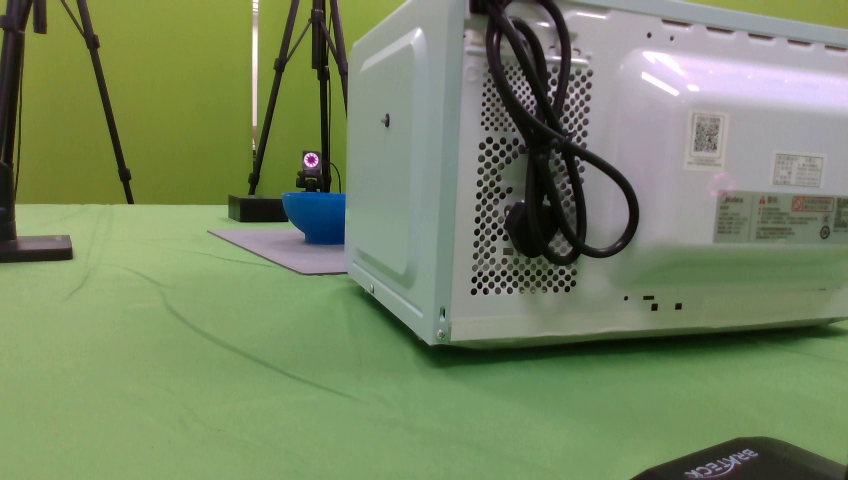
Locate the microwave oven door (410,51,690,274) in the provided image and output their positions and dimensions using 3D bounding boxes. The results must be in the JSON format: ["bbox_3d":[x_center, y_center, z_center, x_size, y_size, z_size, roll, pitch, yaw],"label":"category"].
[{"bbox_3d":[0.161,-0.084,0.723,0.357,0.243,0.039,0,8,-20],"label":"microwave oven door"}]

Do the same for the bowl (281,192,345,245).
[{"bbox_3d":[-0.158,-0.035,0.991,0.151,0.077,0.151,3,7,0],"label":"bowl"}]

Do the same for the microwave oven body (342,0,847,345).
[{"bbox_3d":[0.169,-0.060,0.573,0.444,0.260,0.324,1,7,-20],"label":"microwave oven body"}]

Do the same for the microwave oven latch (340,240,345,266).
[{"bbox_3d":[-0.052,0.016,0.662,0.079,0.029,0.030,1,7,-19],"label":"microwave oven latch"}]
